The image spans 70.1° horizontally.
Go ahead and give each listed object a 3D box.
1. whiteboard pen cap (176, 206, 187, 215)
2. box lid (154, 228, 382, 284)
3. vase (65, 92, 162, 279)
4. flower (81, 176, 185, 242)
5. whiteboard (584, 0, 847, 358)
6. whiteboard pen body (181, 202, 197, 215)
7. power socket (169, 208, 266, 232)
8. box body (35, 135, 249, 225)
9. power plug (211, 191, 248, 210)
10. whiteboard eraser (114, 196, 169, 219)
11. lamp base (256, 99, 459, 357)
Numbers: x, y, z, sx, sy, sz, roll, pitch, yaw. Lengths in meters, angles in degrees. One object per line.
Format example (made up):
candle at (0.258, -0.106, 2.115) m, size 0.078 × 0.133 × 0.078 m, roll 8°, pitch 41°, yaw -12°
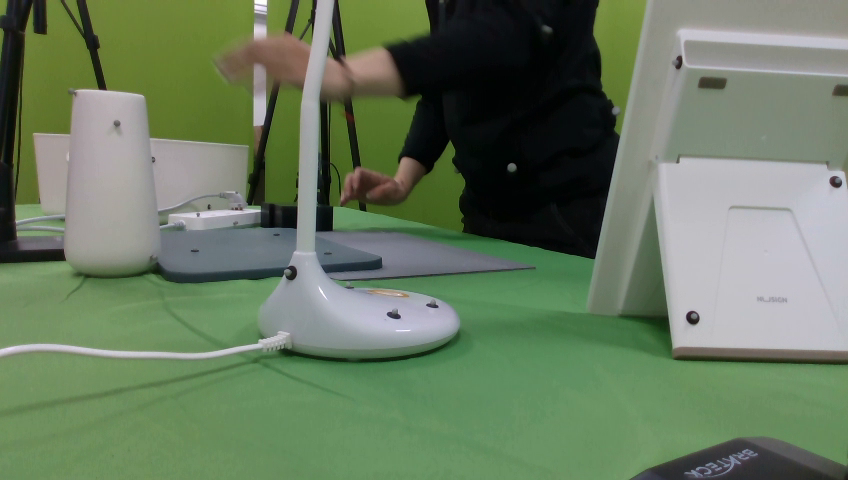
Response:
whiteboard pen cap at (-0.511, -0.062, 1.274) m, size 0.018 × 0.018 × 0.033 m, roll 1°, pitch 9°, yaw -10°
box lid at (-0.250, 0.014, 0.853) m, size 0.265 × 0.015 × 0.369 m, roll -3°, pitch 9°, yaw -32°
vase at (-0.347, -0.060, 0.673) m, size 0.098 × 0.200 × 0.098 m, roll 1°, pitch 7°, yaw 0°
flower at (-0.613, -0.068, 1.288) m, size 0.044 × 0.038 × 0.361 m, roll -5°, pitch 22°, yaw 10°
whiteboard at (0.269, -0.034, 0.466) m, size 0.217 × 0.305 × 0.143 m, roll 2°, pitch 27°, yaw -1°
whiteboard pen body at (-0.519, -0.069, 1.331) m, size 0.017 × 0.017 × 0.140 m, roll 1°, pitch 10°, yaw -11°
power socket at (-0.379, -0.038, 1.129) m, size 0.072 × 0.032 × 0.227 m, roll 4°, pitch 8°, yaw 18°
box body at (-0.561, -0.127, 1.258) m, size 0.254 × 0.160 × 0.365 m, roll 4°, pitch 8°, yaw 13°
power plug at (-0.384, -0.071, 1.206) m, size 0.072 × 0.052 × 0.035 m, roll 1°, pitch 7°, yaw 27°
whiteboard eraser at (-0.546, -0.063, 1.174) m, size 0.055 × 0.042 × 0.112 m, roll 5°, pitch 6°, yaw 3°
lamp base at (-0.055, -0.013, 0.463) m, size 0.160 × 0.180 × 0.180 m, roll 6°, pitch 11°, yaw 27°
